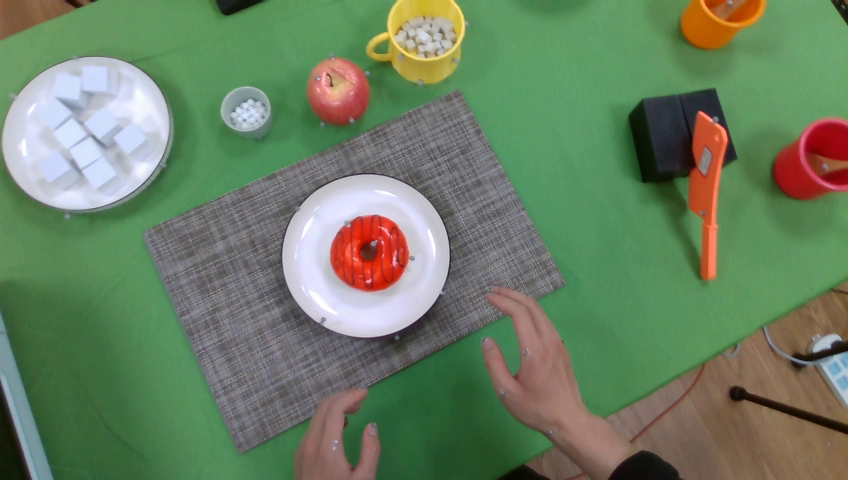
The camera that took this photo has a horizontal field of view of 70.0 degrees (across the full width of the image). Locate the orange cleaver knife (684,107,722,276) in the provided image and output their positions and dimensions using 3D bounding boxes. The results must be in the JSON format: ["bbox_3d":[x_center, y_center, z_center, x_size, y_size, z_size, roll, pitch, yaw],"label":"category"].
[{"bbox_3d":[0.349,-0.059,0.767,0.012,0.076,0.212,-7,111,-2],"label":"orange cleaver knife"}]

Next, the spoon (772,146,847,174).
[{"bbox_3d":[0.543,-0.099,0.756,0.192,0.022,0.041,8,68,44],"label":"spoon"}]

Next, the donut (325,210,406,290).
[{"bbox_3d":[-0.072,0.012,0.743,0.099,0.048,0.098,0,81,-2],"label":"donut"}]

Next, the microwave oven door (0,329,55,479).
[{"bbox_3d":[-0.432,0.246,0.571,0.039,0.244,0.354,-24,80,-7],"label":"microwave oven door"}]

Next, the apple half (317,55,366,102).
[{"bbox_3d":[-0.101,-0.213,0.783,0.081,0.081,0.033,36,83,5],"label":"apple half"}]

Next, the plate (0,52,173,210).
[{"bbox_3d":[-0.423,-0.136,0.770,0.208,0.039,0.206,1,79,-3],"label":"plate"}]

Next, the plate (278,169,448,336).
[{"bbox_3d":[-0.074,0.016,0.753,0.209,0.038,0.208,1,79,-3],"label":"plate"}]

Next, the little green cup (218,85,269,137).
[{"bbox_3d":[-0.231,-0.165,0.786,0.061,0.039,0.061,1,79,-2],"label":"little green cup"}]

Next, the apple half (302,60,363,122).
[{"bbox_3d":[-0.124,-0.182,0.777,0.081,0.075,0.053,37,83,1],"label":"apple half"}]

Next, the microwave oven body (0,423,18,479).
[{"bbox_3d":[-0.583,0.266,0.565,0.326,0.261,0.440,-24,81,-8],"label":"microwave oven body"}]

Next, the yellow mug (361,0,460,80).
[{"bbox_3d":[-0.020,-0.268,0.802,0.131,0.064,0.099,-16,79,-5],"label":"yellow mug"}]

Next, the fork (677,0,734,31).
[{"bbox_3d":[0.437,-0.338,0.795,0.207,0.019,0.028,-26,75,37],"label":"fork"}]
